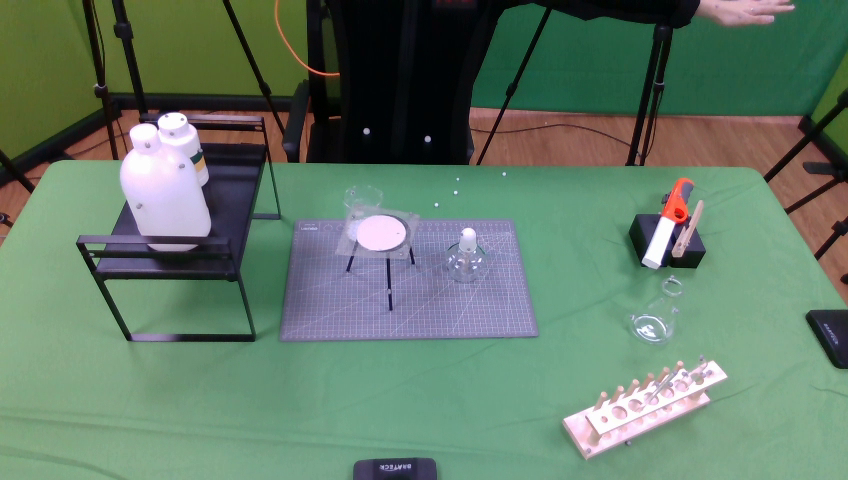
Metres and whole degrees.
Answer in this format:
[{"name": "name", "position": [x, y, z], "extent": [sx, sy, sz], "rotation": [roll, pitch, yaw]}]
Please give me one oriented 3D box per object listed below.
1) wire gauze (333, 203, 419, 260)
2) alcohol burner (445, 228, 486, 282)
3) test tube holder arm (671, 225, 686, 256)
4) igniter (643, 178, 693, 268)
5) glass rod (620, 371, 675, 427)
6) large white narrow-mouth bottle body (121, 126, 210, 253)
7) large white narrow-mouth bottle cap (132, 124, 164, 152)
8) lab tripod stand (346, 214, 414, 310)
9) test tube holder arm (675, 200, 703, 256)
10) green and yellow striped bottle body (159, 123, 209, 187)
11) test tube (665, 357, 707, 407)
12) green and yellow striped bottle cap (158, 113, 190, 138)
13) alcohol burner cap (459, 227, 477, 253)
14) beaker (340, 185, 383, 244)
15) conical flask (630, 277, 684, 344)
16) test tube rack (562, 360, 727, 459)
[{"name": "wire gauze", "position": [-0.079, -0.014, 1.030], "extent": [0.121, 0.011, 0.124], "rotation": [8, 45, 6]}, {"name": "alcohol burner", "position": [0.077, 0.021, 1.115], "extent": [0.078, 0.120, 0.077], "rotation": [1, 48, -1]}, {"name": "test tube holder arm", "position": [0.494, 0.001, 1.167], "extent": [0.010, 0.015, 0.087], "rotation": [1, 36, 42]}, {"name": "igniter", "position": [0.488, -0.042, 1.205], "extent": [0.057, 0.025, 0.276], "rotation": [30, 51, 11]}, {"name": "glass rod", "position": [0.315, 0.230, 0.863], "extent": [0.008, 0.200, 0.008], "rotation": [3, 53, -3]}, {"name": "large white narrow-mouth bottle body", "position": [-0.378, -0.077, 0.875], "extent": [0.102, 0.195, 0.101], "rotation": [3, 46, -3]}, {"name": "large white narrow-mouth bottle cap", "position": [-0.371, -0.137, 0.813], "extent": [0.038, 0.024, 0.037], "rotation": [3, 46, -3]}, {"name": "lab tripod stand", "position": [-0.075, 0.030, 1.082], "extent": [0.148, 0.132, 0.147], "rotation": [1, 47, -1]}, {"name": "test tube holder arm", "position": [0.523, -0.025, 1.190], "extent": [0.013, 0.015, 0.178], "rotation": [1, 36, 42]}, {"name": "green and yellow striped bottle body", "position": [-0.395, -0.145, 0.989], "extent": [0.063, 0.120, 0.063], "rotation": [2, 46, -2]}, {"name": "test tube", "position": [0.387, 0.215, 0.905], "extent": [0.017, 0.151, 0.017], "rotation": [1, 52, -1]}, {"name": "green and yellow striped bottle cap", "position": [-0.393, -0.180, 0.951], "extent": [0.045, 0.020, 0.045], "rotation": [2, 44, -2]}, {"name": "alcohol burner cap", "position": [0.079, -0.002, 1.088], "extent": [0.034, 0.048, 0.033], "rotation": [-1, 54, 2]}, {"name": "beaker", "position": [-0.119, -0.048, 1.177], "extent": [0.084, 0.101, 0.073], "rotation": [-20, 51, -23]}, {"name": "conical flask", "position": [0.408, 0.117, 1.045], "extent": [0.075, 0.122, 0.075], "rotation": [2, 46, -2]}, {"name": "test tube rack", "position": [0.341, 0.247, 0.940], "extent": [0.243, 0.085, 0.066], "rotation": [-16, 49, -19]}]
